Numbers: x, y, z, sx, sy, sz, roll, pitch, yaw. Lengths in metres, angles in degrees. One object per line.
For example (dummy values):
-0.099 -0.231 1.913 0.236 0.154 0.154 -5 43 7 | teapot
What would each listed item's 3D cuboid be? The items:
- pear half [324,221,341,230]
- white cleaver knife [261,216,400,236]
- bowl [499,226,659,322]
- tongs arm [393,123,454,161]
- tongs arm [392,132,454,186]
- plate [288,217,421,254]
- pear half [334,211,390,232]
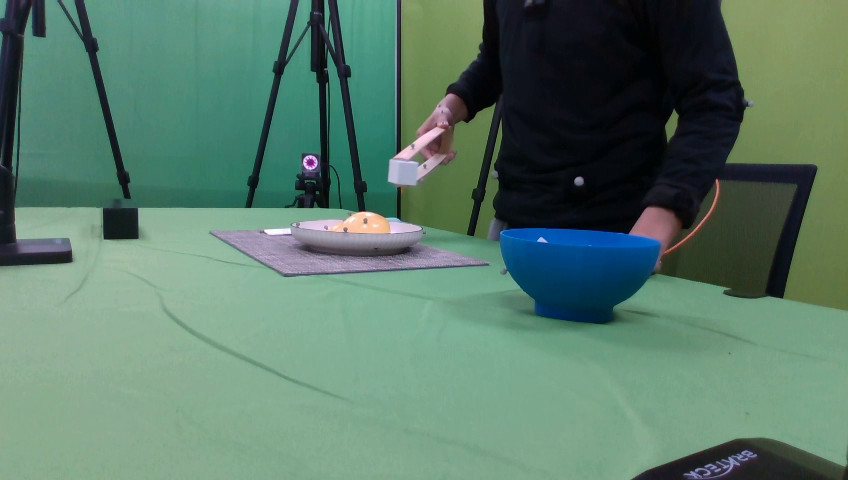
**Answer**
-0.126 -0.019 1.001 0.088 0.031 0.070 7 3 1 | pear half
-0.169 -0.021 1.156 0.288 0.021 0.065 -7 20 -33 | white cleaver knife
0.145 0.032 0.585 0.151 0.077 0.151 2 7 0 | bowl
0.008 -0.176 1.074 0.028 0.028 0.388 4 19 12 | tongs arm
0.006 -0.153 1.083 0.026 0.051 0.385 7 15 11 | tongs arm
-0.109 -0.008 0.956 0.208 0.039 0.207 2 7 0 | plate
-0.107 -0.016 0.920 0.110 0.056 0.076 -4 4 -20 | pear half
